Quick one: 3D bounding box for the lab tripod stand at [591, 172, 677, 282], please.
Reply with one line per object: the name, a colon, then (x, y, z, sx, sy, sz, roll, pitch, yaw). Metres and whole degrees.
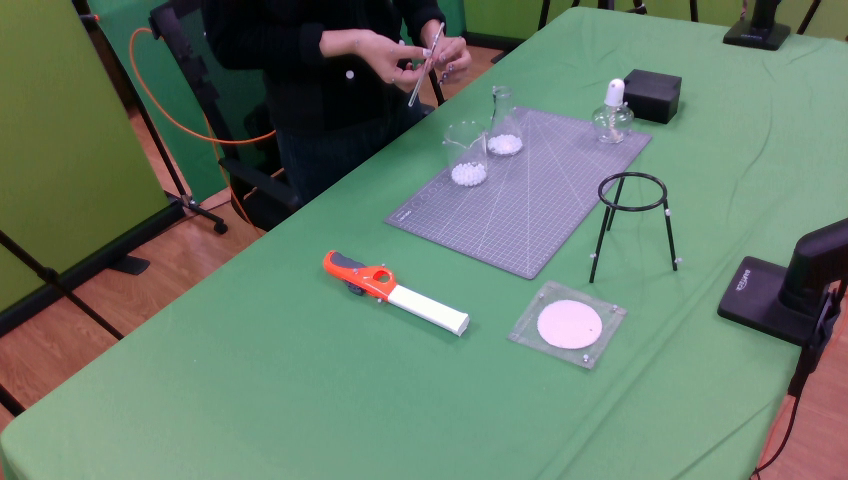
lab tripod stand: (0.292, -0.022, 0.867, 0.148, 0.132, 0.147, -7, 39, 6)

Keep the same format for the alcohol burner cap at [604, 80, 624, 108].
alcohol burner cap: (0.350, -0.269, 1.102, 0.034, 0.048, 0.033, -2, 47, 2)

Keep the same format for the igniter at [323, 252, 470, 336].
igniter: (-0.052, 0.075, 0.901, 0.274, 0.025, 0.057, 22, 60, 32)

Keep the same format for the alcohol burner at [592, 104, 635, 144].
alcohol burner: (0.353, -0.242, 1.126, 0.078, 0.119, 0.077, -5, 38, 5)

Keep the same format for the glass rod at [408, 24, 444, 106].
glass rod: (0.005, -0.300, 1.024, 0.008, 0.008, 0.199, 8, 58, 20)

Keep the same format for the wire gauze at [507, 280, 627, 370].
wire gauze: (0.196, 0.114, 0.823, 0.120, 0.011, 0.125, 20, 50, 31)

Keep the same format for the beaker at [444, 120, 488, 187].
beaker: (0.078, -0.150, 1.083, 0.074, 0.101, 0.083, -9, 41, 1)

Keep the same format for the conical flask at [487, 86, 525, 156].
conical flask: (0.152, -0.226, 1.140, 0.075, 0.122, 0.075, -6, 40, 5)
